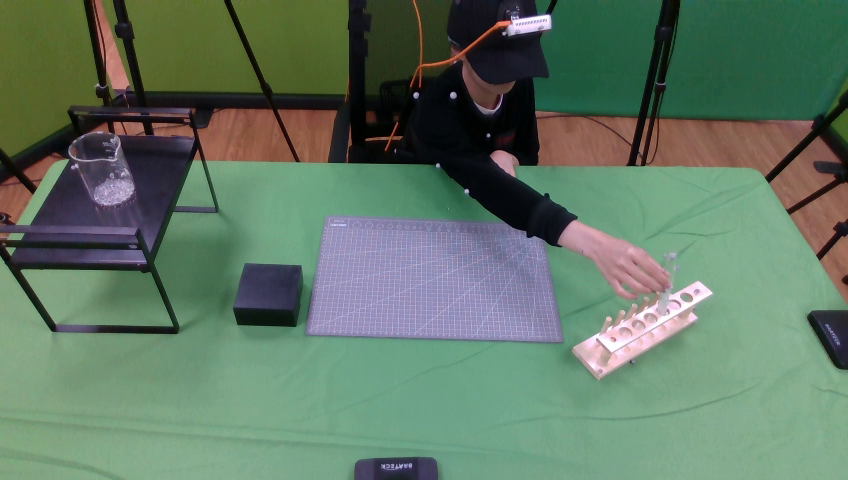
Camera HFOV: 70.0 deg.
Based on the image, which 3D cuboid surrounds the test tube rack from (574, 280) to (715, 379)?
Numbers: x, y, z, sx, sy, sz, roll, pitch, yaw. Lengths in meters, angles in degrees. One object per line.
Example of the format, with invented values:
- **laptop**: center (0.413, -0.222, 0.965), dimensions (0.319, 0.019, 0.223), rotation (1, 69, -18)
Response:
- **test tube rack**: center (0.378, 0.140, 1.038), dimensions (0.242, 0.085, 0.066), rotation (-23, 51, -23)

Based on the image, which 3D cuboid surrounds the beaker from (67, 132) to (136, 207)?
- **beaker**: center (-0.504, -0.109, 0.962), dimensions (0.083, 0.101, 0.074), rotation (25, 50, 19)

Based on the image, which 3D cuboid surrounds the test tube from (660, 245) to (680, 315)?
- **test tube**: center (0.391, 0.068, 0.965), dimensions (0.017, 0.151, 0.017), rotation (-7, 40, 6)
